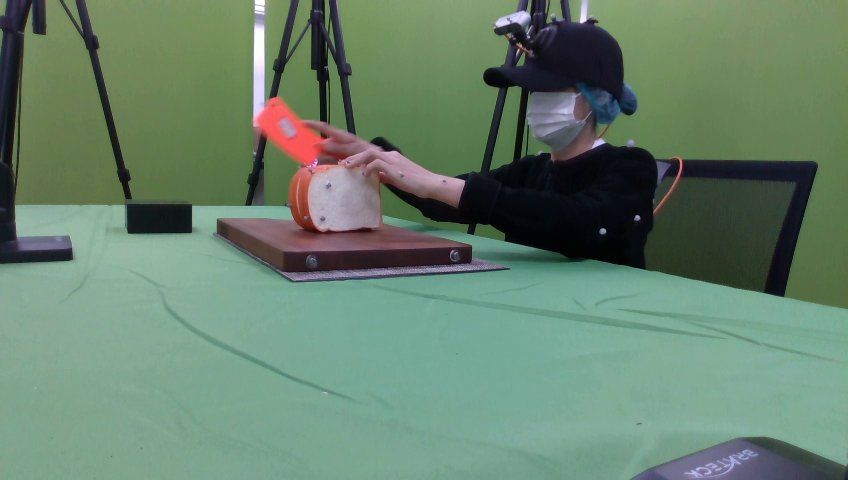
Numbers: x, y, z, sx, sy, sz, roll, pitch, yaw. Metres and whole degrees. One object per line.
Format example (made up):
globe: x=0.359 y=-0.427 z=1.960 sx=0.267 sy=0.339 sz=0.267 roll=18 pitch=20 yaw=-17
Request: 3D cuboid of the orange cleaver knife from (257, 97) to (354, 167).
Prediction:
orange cleaver knife: x=-0.203 y=-0.170 z=1.062 sx=0.012 sy=0.077 sz=0.212 roll=0 pitch=-25 yaw=40

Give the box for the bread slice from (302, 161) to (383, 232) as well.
bread slice: x=-0.122 y=-0.061 z=0.923 sx=0.135 sy=0.107 sz=0.018 roll=-13 pitch=11 yaw=-38

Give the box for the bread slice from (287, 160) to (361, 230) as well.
bread slice: x=-0.154 y=-0.070 z=0.961 sx=0.132 sy=0.105 sz=0.019 roll=-11 pitch=12 yaw=-35
